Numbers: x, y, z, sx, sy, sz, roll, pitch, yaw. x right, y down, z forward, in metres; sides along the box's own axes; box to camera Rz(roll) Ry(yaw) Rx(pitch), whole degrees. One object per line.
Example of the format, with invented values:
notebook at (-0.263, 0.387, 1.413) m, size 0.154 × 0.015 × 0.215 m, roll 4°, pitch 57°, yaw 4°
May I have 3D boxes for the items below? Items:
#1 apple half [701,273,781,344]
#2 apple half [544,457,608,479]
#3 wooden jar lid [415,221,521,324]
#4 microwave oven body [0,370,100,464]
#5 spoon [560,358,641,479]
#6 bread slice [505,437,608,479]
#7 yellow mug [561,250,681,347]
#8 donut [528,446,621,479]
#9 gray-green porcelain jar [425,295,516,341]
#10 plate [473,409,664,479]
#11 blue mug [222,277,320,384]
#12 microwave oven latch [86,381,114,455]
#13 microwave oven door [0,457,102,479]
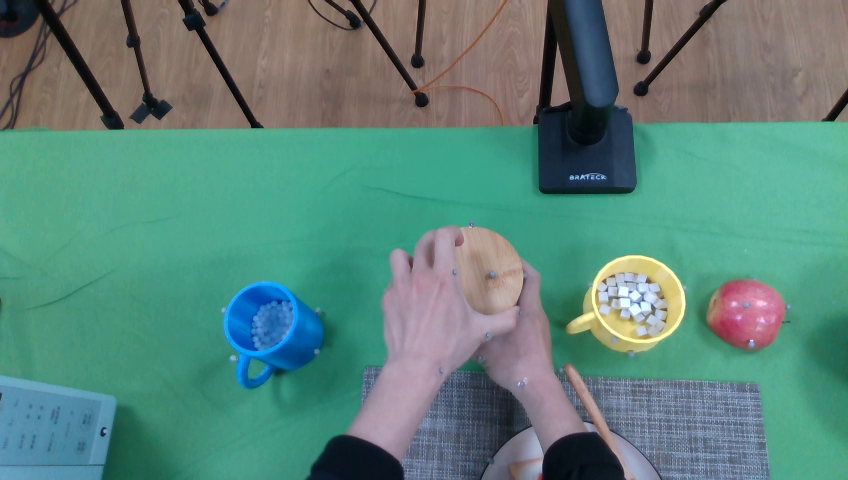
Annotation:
apple half at (0.361, 0.073, 0.684) m, size 0.074 × 0.054 × 0.080 m, roll 22°, pitch 75°, yaw 15°
apple half at (0.148, 0.252, 0.581) m, size 0.081 × 0.033 × 0.080 m, roll -5°, pitch 68°, yaw 12°
wooden jar lid at (0.045, 0.034, 0.624) m, size 0.108 × 0.021 × 0.107 m, roll -2°, pitch 70°, yaw 6°
microwave oven body at (-0.552, 0.340, 0.571) m, size 0.326 × 0.262 × 0.439 m, roll 1°, pitch 72°, yaw 6°
spoon at (0.194, 0.213, 0.641) m, size 0.041 × 0.022 × 0.193 m, roll -24°, pitch 79°, yaw -5°
bread slice at (0.156, 0.284, 0.639) m, size 0.107 × 0.018 × 0.133 m, roll -16°, pitch 71°, yaw 2°
yellow mug at (0.219, 0.074, 0.692) m, size 0.131 × 0.064 × 0.099 m, roll -22°, pitch 71°, yaw -1°
donut at (0.154, 0.261, 0.615) m, size 0.099 × 0.048 × 0.098 m, roll -2°, pitch 71°, yaw 5°
gray-green porcelain jar at (0.051, 0.055, 0.683) m, size 0.106 × 0.127 × 0.105 m, roll -2°, pitch 71°, yaw 5°
plate at (0.150, 0.286, 0.637) m, size 0.207 × 0.039 × 0.206 m, roll -2°, pitch 72°, yaw 5°
blue mug at (-0.180, 0.111, 0.698) m, size 0.082 × 0.106 × 0.116 m, roll 21°, pitch 75°, yaw 13°
microwave oven latch at (-0.387, 0.206, 0.702) m, size 0.030 × 0.030 × 0.078 m, roll 8°, pitch 73°, yaw 8°
microwave oven door at (-0.410, 0.381, 0.537) m, size 0.039 × 0.245 × 0.353 m, roll 1°, pitch 71°, yaw 7°
